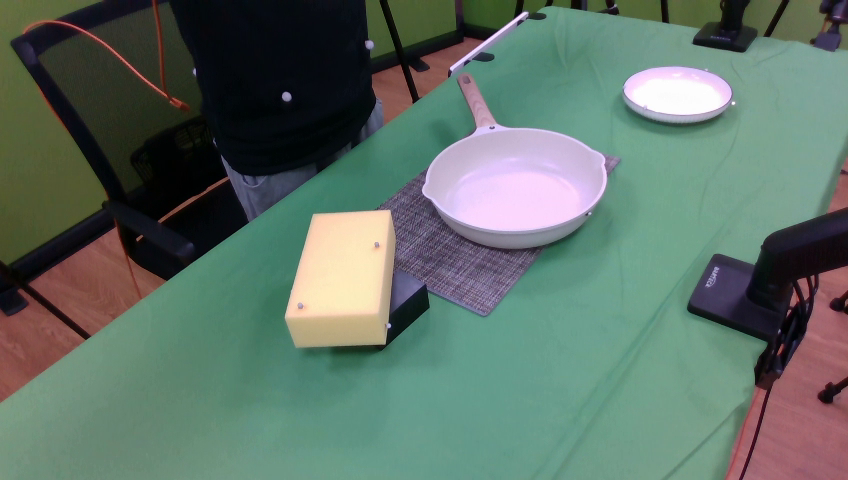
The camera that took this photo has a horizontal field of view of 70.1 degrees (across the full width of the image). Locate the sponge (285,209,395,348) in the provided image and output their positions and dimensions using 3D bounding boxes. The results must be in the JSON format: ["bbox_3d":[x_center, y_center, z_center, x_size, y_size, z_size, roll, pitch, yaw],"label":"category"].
[{"bbox_3d":[-0.107,0.047,0.823,0.118,0.061,0.206,-3,41,4],"label":"sponge"}]

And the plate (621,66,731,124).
[{"bbox_3d":[0.504,-0.288,1.221,0.207,0.039,0.206,-4,41,4],"label":"plate"}]

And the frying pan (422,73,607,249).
[{"bbox_3d":[0.129,-0.161,1.069,0.307,0.103,0.484,-10,49,-6],"label":"frying pan"}]
